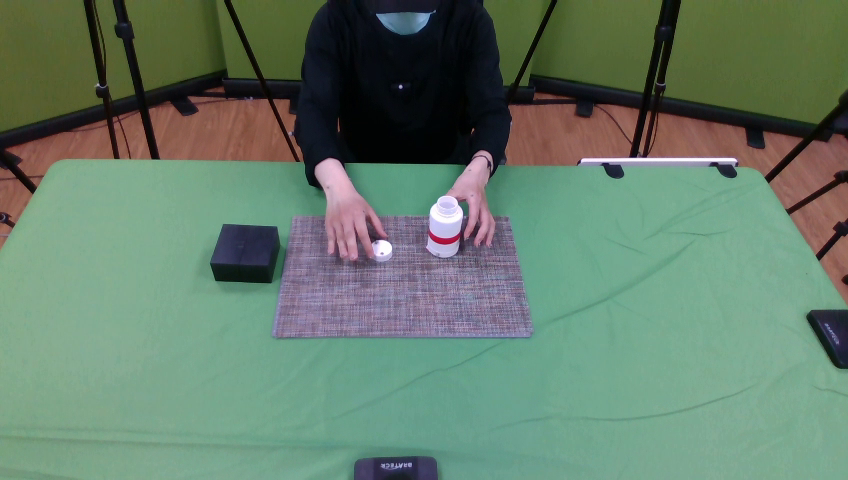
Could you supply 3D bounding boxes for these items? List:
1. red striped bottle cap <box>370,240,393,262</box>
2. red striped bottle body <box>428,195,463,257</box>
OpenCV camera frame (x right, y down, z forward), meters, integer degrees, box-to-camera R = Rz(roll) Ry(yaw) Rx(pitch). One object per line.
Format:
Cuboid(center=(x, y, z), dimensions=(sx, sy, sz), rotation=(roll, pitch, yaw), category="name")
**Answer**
Cuboid(center=(-0.082, 0.020, 1.168), dimensions=(0.044, 0.018, 0.044), rotation=(-1, 47, 1), category="red striped bottle cap")
Cuboid(center=(0.041, -0.029, 1.151), dimensions=(0.063, 0.120, 0.062), rotation=(1, 46, -1), category="red striped bottle body")
